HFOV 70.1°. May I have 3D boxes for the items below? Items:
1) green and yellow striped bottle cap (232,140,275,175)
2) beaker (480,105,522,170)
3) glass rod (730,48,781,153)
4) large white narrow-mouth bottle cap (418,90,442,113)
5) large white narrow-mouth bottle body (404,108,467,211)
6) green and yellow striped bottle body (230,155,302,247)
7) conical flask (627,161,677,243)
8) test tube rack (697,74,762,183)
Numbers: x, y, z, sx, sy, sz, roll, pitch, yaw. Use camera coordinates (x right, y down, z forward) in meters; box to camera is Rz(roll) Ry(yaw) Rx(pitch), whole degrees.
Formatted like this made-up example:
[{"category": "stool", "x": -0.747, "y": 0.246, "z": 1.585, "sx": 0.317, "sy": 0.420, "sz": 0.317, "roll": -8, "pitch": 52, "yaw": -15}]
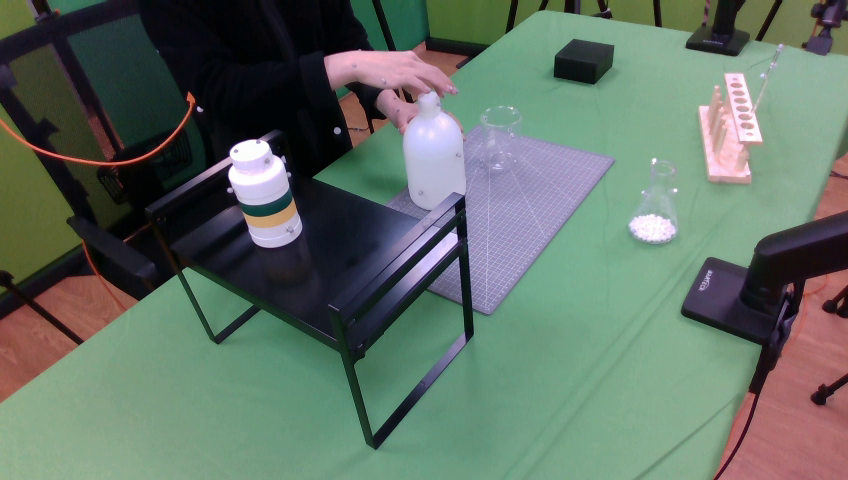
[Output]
[{"category": "green and yellow striped bottle cap", "x": -0.192, "y": -0.093, "z": 0.680, "sx": 0.045, "sy": 0.020, "sz": 0.045, "roll": -5, "pitch": 39, "yaw": 5}, {"category": "beaker", "x": 0.145, "y": -0.187, "z": 1.111, "sx": 0.084, "sy": 0.101, "sz": 0.073, "roll": -35, "pitch": 48, "yaw": -29}, {"category": "glass rod", "x": 0.554, "y": -0.228, "z": 1.015, "sx": 0.008, "sy": 0.200, "sz": 0.008, "roll": 1, "pitch": 44, "yaw": -1}, {"category": "large white narrow-mouth bottle cap", "x": 0.009, "y": -0.221, "z": 0.961, "sx": 0.038, "sy": 0.024, "sz": 0.037, "roll": -4, "pitch": 39, "yaw": 4}, {"category": "large white narrow-mouth bottle body", "x": 0.017, "y": -0.152, "z": 1.016, "sx": 0.102, "sy": 0.195, "sz": 0.101, "roll": -4, "pitch": 39, "yaw": 4}, {"category": "green and yellow striped bottle body", "x": -0.188, "y": -0.055, "z": 0.714, "sx": 0.063, "sy": 0.120, "sz": 0.063, "roll": -4, "pitch": 41, "yaw": 4}, {"category": "conical flask", "x": 0.355, "y": -0.061, "z": 0.921, "sx": 0.075, "sy": 0.122, "sz": 0.075, "roll": -4, "pitch": 41, "yaw": 4}, {"category": "test tube rack", "x": 0.547, "y": -0.208, "z": 1.095, "sx": 0.066, "sy": 0.085, "sz": 0.242, "roll": 5, "pitch": 42, "yaw": 15}]
